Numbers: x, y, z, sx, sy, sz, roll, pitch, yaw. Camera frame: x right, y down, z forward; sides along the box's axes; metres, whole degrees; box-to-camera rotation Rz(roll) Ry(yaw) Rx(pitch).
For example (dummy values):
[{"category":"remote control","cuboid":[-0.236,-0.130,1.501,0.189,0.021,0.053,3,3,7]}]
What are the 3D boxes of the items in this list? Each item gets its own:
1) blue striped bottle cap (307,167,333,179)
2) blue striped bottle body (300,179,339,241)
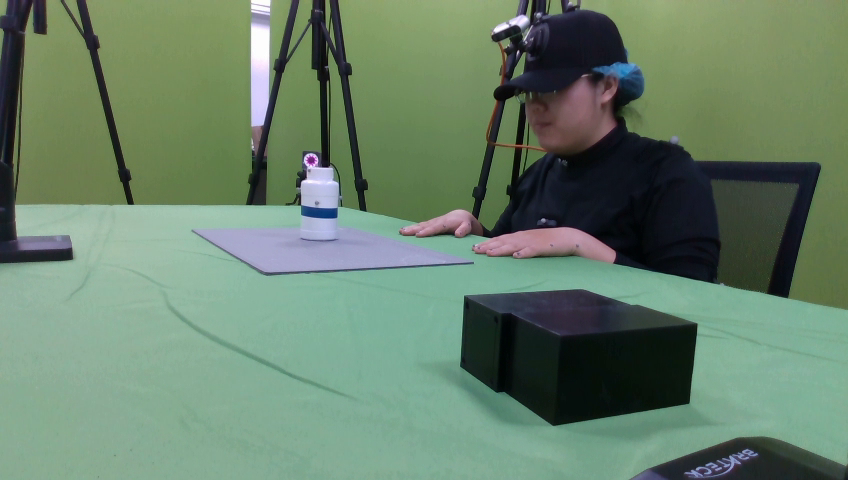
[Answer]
[{"category":"blue striped bottle cap","cuboid":[-0.174,-0.112,1.011,0.044,0.020,0.044,2,6,0]},{"category":"blue striped bottle body","cuboid":[-0.176,-0.062,1.018,0.063,0.120,0.063,3,7,0]}]
